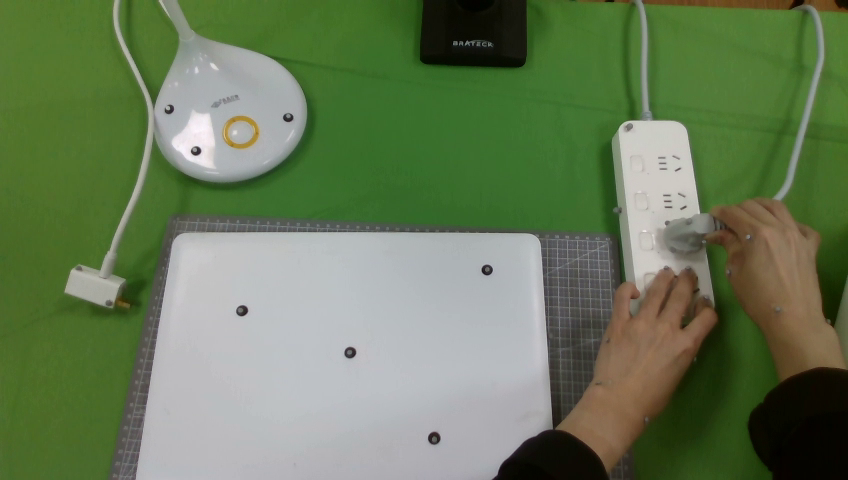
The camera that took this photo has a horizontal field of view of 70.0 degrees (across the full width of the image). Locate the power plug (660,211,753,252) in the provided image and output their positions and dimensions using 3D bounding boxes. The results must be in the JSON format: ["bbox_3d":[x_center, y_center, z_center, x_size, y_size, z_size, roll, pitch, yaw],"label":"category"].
[{"bbox_3d":[0.256,-0.003,0.558,0.072,0.053,0.035,10,69,13],"label":"power plug"}]

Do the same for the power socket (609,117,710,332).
[{"bbox_3d":[0.228,-0.023,0.597,0.072,0.033,0.225,2,68,-1],"label":"power socket"}]

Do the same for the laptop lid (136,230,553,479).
[{"bbox_3d":[-0.066,0.101,0.542,0.357,0.013,0.240,2,71,1],"label":"laptop lid"}]

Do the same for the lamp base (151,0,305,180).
[{"bbox_3d":[-0.216,-0.174,0.578,0.160,0.181,0.178,-35,69,-13],"label":"lamp base"}]

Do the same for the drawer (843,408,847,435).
[{"bbox_3d":[0.485,0.105,0.505,0.194,0.073,0.211,23,73,9],"label":"drawer"}]

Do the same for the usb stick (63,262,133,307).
[{"bbox_3d":[-0.301,0.044,0.568,0.059,0.021,0.027,26,97,-15],"label":"usb stick"}]

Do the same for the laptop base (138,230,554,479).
[{"bbox_3d":[-0.066,0.103,0.554,0.354,0.023,0.234,0,72,0],"label":"laptop base"}]

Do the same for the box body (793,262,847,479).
[{"bbox_3d":[0.471,0.122,0.468,0.253,0.161,0.362,24,70,10],"label":"box body"}]
